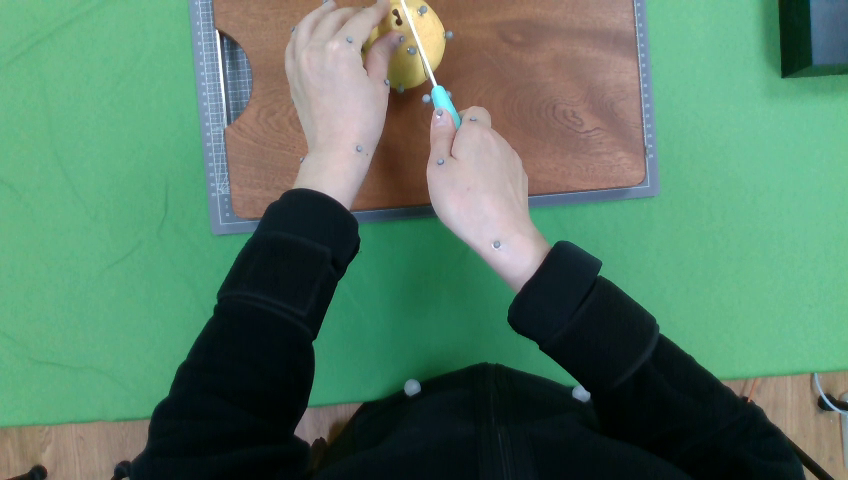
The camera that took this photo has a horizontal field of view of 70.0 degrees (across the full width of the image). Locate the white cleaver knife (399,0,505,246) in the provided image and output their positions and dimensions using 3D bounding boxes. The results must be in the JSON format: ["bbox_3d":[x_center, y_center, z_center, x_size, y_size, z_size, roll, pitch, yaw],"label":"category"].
[{"bbox_3d":[0.007,-0.130,0.476,0.021,0.066,0.286,-20,92,7],"label":"white cleaver knife"}]

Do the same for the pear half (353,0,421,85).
[{"bbox_3d":[-0.034,-0.175,0.525,0.056,0.110,0.076,-23,85,-4],"label":"pear half"}]

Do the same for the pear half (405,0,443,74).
[{"bbox_3d":[-0.001,-0.188,0.535,0.031,0.088,0.070,-24,85,-1],"label":"pear half"}]
